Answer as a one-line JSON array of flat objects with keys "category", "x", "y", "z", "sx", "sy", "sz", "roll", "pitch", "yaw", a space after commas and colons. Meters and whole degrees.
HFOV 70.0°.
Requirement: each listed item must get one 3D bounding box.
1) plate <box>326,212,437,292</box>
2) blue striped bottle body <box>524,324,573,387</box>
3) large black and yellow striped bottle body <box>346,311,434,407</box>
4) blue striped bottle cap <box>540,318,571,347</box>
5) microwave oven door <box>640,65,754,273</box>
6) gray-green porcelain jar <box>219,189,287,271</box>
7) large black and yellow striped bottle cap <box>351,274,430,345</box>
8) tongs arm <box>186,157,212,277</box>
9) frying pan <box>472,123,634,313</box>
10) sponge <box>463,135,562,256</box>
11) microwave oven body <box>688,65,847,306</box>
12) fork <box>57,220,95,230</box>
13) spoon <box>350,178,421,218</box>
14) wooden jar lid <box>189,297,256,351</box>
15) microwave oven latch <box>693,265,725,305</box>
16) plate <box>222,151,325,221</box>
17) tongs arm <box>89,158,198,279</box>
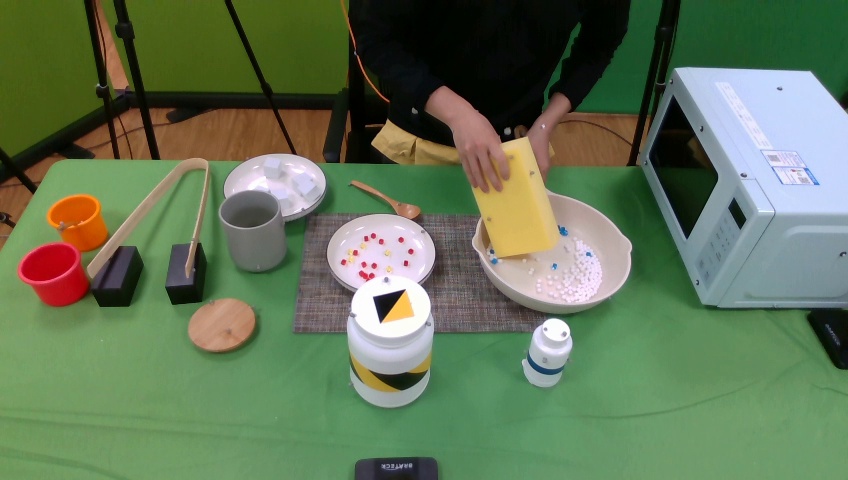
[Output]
[{"category": "plate", "x": -0.080, "y": 0.030, "z": 1.143, "sx": 0.209, "sy": 0.038, "sz": 0.208, "roll": 3, "pitch": 46, "yaw": -3}, {"category": "blue striped bottle body", "x": 0.200, "y": 0.178, "z": 0.970, "sx": 0.063, "sy": 0.121, "sz": 0.062, "roll": 2, "pitch": 46, "yaw": -2}, {"category": "large black and yellow striped bottle body", "x": -0.052, "y": 0.157, "z": 0.929, "sx": 0.131, "sy": 0.185, "sz": 0.130, "roll": 2, "pitch": 47, "yaw": -2}, {"category": "blue striped bottle cap", "x": 0.203, "y": 0.142, "z": 0.933, "sx": 0.044, "sy": 0.021, "sz": 0.044, "roll": 3, "pitch": 49, "yaw": -3}, {"category": "microwave oven door", "x": 0.523, "y": -0.147, "z": 1.193, "sx": 0.039, "sy": 0.245, "sz": 0.353, "roll": 0, "pitch": 47, "yaw": -3}, {"category": "gray-green porcelain jar", "x": -0.309, "y": -0.014, "z": 1.113, "sx": 0.106, "sy": 0.127, "sz": 0.105, "roll": 2, "pitch": 46, "yaw": -2}, {"category": "large black and yellow striped bottle cap", "x": -0.048, "y": 0.097, "z": 0.868, "sx": 0.115, "sy": 0.019, "sz": 0.114, "roll": 3, "pitch": 48, "yaw": -3}, {"category": "tongs arm", "x": -0.445, "y": -0.058, "z": 1.168, "sx": 0.051, "sy": 0.026, "sz": 0.382, "roll": -5, "pitch": 37, "yaw": -6}, {"category": "frying pan", "x": 0.235, "y": -0.060, "z": 1.207, "sx": 0.307, "sy": 0.103, "sz": 0.484, "roll": 1, "pitch": 55, "yaw": -6}, {"category": "sponge", "x": 0.167, "y": -0.080, "z": 1.135, "sx": 0.118, "sy": 0.207, "sz": 0.061, "roll": -11, "pitch": 19, "yaw": 33}, {"category": "microwave oven body", "x": 0.669, "y": -0.111, "z": 1.176, "sx": 0.326, "sy": 0.261, "sz": 0.439, "roll": 0, "pitch": 46, "yaw": -3}, {"category": "fork", "x": -0.624, "y": -0.027, "z": 1.087, "sx": 0.028, "sy": 0.207, "sz": 0.018, "roll": -3, "pitch": 92, "yaw": -17}, {"category": "spoon", "x": -0.084, "y": -0.093, "z": 1.272, "sx": 0.193, "sy": 0.022, "sz": 0.041, "roll": 31, "pitch": 69, "yaw": 25}, {"category": "wooden jar lid", "x": -0.342, "y": 0.145, "z": 1.033, "sx": 0.108, "sy": 0.021, "sz": 0.107, "roll": 2, "pitch": 45, "yaw": -2}, {"category": "microwave oven latch", "x": 0.523, "y": 0.082, "z": 1.116, "sx": 0.030, "sy": 0.029, "sz": 0.078, "roll": 2, "pitch": 46, "yaw": -1}, {"category": "plate", "x": -0.310, "y": -0.106, "z": 1.262, "sx": 0.208, "sy": 0.039, "sz": 0.206, "roll": 2, "pitch": 47, "yaw": -2}, {"category": "tongs arm", "x": -0.529, "y": -0.057, "z": 1.164, "sx": 0.028, "sy": 0.028, "sz": 0.385, "roll": 1, "pitch": 36, "yaw": 8}]
